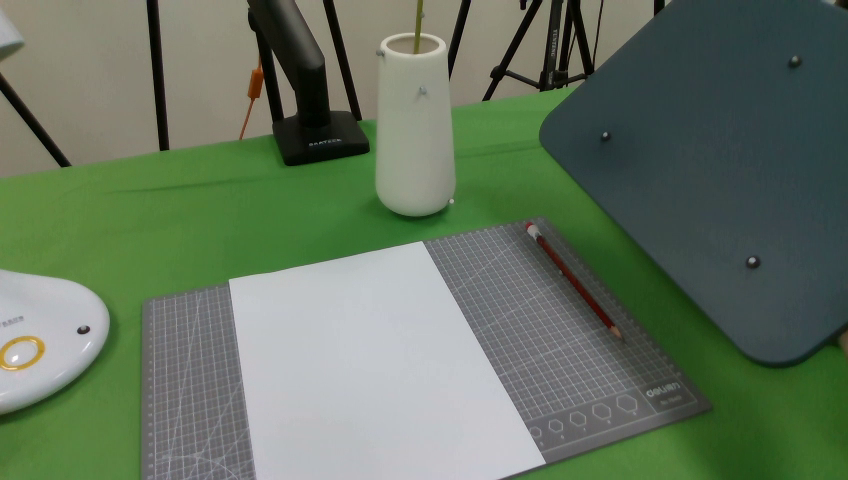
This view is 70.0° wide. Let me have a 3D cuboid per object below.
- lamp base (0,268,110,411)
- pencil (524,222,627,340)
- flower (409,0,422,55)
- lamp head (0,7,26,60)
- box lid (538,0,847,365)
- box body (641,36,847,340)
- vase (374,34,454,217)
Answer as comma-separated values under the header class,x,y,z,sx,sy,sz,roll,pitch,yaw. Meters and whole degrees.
class,x,y,z,sx,sy,sz,roll,pitch,yaw
lamp base,-0.382,0.026,0.507,0.177,0.182,0.160,25,44,31
pencil,0.154,0.037,0.634,0.012,0.012,0.191,-13,41,-17
flower,-0.012,-0.177,0.625,0.044,0.364,0.038,25,56,9
lamp head,-0.301,-0.131,0.315,0.112,0.124,0.111,-26,22,12
box lid,0.279,-0.094,0.535,0.263,0.015,0.367,-43,44,13
box body,0.446,-0.078,0.665,0.255,0.162,0.359,-12,40,-15
vase,-0.014,-0.126,0.693,0.098,0.202,0.097,-1,37,1
